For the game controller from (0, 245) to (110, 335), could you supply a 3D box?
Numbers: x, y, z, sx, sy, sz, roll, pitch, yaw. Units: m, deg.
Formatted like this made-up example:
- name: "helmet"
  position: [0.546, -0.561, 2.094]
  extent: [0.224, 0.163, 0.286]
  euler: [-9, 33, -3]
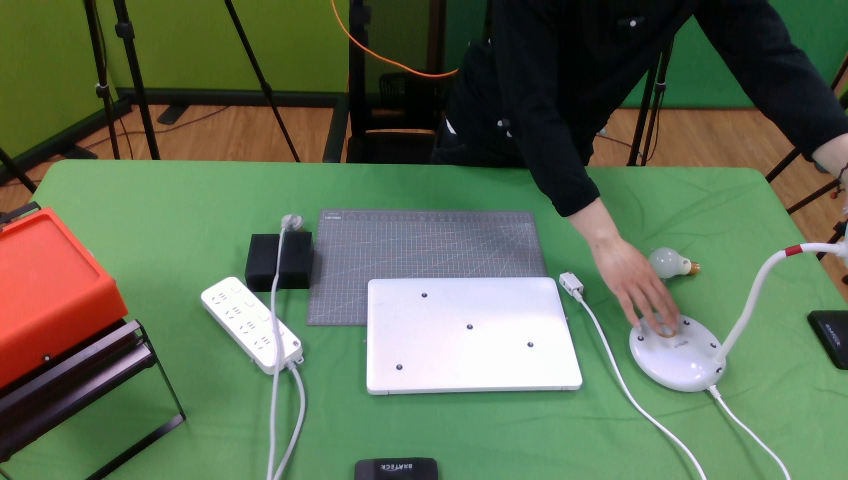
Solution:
- name: "game controller"
  position: [-0.510, 0.062, 0.830]
  extent: [0.097, 0.052, 0.154]
  euler: [-30, 58, -30]

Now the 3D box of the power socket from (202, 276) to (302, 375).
- name: "power socket"
  position: [-0.296, 0.142, 1.033]
  extent: [0.072, 0.033, 0.225]
  euler: [-34, 58, -31]

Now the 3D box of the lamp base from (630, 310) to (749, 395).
- name: "lamp base"
  position: [0.447, 0.143, 0.984]
  extent: [0.161, 0.181, 0.178]
  euler: [-24, 55, -24]

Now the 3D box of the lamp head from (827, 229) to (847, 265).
- name: "lamp head"
  position: [0.575, -0.001, 0.750]
  extent: [0.112, 0.123, 0.111]
  euler: [1, 48, 0]

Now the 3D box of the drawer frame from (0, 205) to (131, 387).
- name: "drawer frame"
  position: [-0.539, 0.076, 0.795]
  extent: [0.200, 0.083, 0.213]
  euler: [36, 54, 26]

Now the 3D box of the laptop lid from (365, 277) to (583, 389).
- name: "laptop lid"
  position: [0.077, 0.152, 1.046]
  extent: [0.357, 0.013, 0.240]
  euler: [1, 45, -3]

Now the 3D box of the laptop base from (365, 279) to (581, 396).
- name: "laptop base"
  position: [0.077, 0.162, 1.053]
  extent: [0.355, 0.023, 0.234]
  euler: [0, 44, -4]

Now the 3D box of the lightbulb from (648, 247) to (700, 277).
- name: "lightbulb"
  position: [0.485, 0.046, 1.169]
  extent: [0.108, 0.060, 0.059]
  euler: [10, 45, -15]

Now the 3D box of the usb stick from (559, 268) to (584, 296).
- name: "usb stick"
  position: [0.274, 0.077, 1.141]
  extent: [0.027, 0.021, 0.059]
  euler: [-10, 40, -15]

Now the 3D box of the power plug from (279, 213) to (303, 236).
- name: "power plug"
  position: [-0.263, -0.021, 1.184]
  extent: [0.035, 0.053, 0.072]
  euler: [-2, 47, 32]

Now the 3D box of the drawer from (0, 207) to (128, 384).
- name: "drawer"
  position: [-0.540, 0.074, 0.798]
  extent: [0.193, 0.073, 0.211]
  euler: [37, 55, 27]
